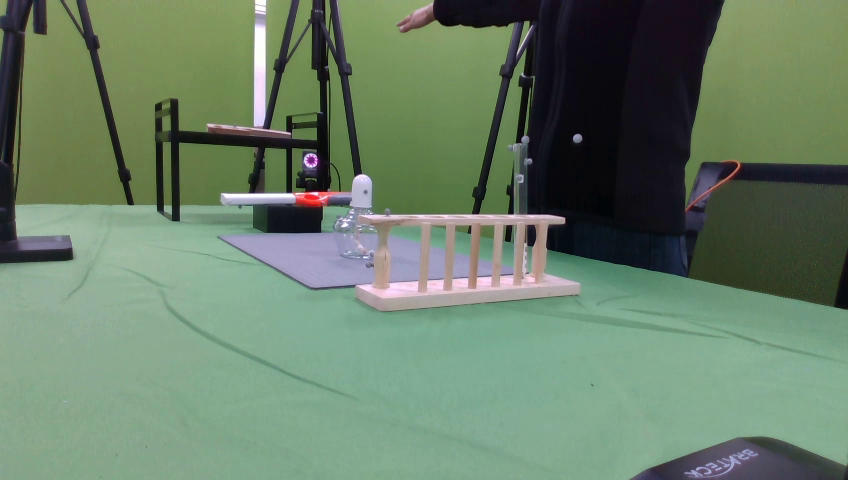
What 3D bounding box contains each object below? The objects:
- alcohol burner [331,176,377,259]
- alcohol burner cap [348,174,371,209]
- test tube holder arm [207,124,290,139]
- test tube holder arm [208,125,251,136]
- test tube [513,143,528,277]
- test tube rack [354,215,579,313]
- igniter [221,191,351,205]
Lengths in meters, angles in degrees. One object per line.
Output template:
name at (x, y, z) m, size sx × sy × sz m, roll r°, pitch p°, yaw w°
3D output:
alcohol burner at (-0.091, -0.033, 0.855) m, size 0.078 × 0.119 × 0.078 m, roll 4°, pitch 7°, yaw 0°
alcohol burner cap at (-0.089, -0.068, 0.849) m, size 0.034 × 0.048 × 0.034 m, roll 3°, pitch 10°, yaw 0°
test tube holder arm at (-0.381, -0.237, 1.327) m, size 0.179 × 0.015 × 0.013 m, roll 0°, pitch 42°, yaw -32°
test tube holder arm at (-0.418, -0.234, 1.299) m, size 0.088 × 0.015 × 0.010 m, roll 1°, pitch 41°, yaw -31°
test tube at (0.108, -0.033, 0.677) m, size 0.017 × 0.150 × 0.017 m, roll -1°, pitch 8°, yaw 1°
test tube rack at (0.053, 0.019, 0.635) m, size 0.243 × 0.085 × 0.066 m, roll -1°, pitch 8°, yaw -29°
igniter at (-0.239, -0.078, 1.149) m, size 0.278 × 0.025 × 0.057 m, roll -3°, pitch 20°, yaw -31°
